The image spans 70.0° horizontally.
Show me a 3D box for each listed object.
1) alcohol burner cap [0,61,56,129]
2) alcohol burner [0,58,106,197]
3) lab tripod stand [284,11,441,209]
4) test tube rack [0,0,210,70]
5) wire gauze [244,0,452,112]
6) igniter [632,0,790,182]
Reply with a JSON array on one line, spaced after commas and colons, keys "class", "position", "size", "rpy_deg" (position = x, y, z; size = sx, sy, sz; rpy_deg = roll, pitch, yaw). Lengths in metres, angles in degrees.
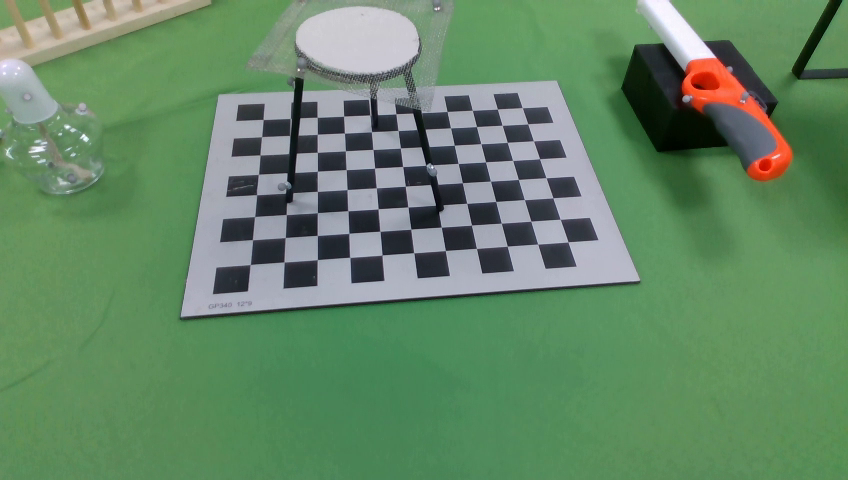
[{"class": "alcohol burner cap", "position": [-0.304, -0.111, 0.456], "size": [0.034, 0.048, 0.033], "rpy_deg": [-1, 50, 1]}, {"class": "alcohol burner", "position": [-0.304, -0.092, 0.480], "size": [0.078, 0.120, 0.077], "rpy_deg": [0, 51, 0]}, {"class": "lab tripod stand", "position": [-0.046, -0.097, 0.478], "size": [0.148, 0.132, 0.147], "rpy_deg": [2, 49, -2]}, {"class": "test tube rack", "position": [-0.361, -0.260, 0.638], "size": [0.242, 0.086, 0.066], "rpy_deg": [-32, 59, -26]}, {"class": "wire gauze", "position": [-0.047, -0.138, 0.424], "size": [0.125, 0.011, 0.120], "rpy_deg": [10, 49, 4]}, {"class": "igniter", "position": [0.250, -0.149, 0.546], "size": [0.057, 0.025, 0.273], "rpy_deg": [-6, 49, -3]}]
